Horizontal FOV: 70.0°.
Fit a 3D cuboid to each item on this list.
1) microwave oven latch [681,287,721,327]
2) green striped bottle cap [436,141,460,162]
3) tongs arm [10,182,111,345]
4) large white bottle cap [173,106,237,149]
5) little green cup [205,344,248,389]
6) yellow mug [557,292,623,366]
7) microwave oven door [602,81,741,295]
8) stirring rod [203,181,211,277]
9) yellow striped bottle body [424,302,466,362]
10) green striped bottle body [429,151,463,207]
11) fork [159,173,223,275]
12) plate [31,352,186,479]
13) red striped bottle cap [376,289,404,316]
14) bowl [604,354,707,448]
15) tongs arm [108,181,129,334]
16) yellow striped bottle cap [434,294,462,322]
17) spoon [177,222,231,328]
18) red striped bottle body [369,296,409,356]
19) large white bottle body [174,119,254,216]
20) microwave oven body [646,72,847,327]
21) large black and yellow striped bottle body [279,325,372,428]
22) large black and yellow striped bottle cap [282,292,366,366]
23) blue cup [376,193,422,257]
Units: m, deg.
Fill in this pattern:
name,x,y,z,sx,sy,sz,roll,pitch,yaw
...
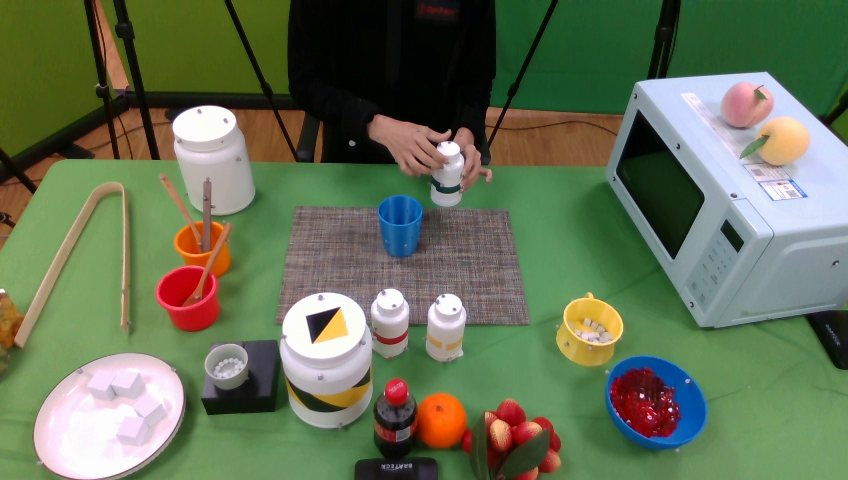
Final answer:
name,x,y,z,sx,sy,sz,roll,pitch,yaw
microwave oven latch,0.494,0.119,1.087,0.030,0.029,0.078,-6,46,-9
green striped bottle cap,0.045,-0.163,1.117,0.044,0.020,0.044,0,44,1
tongs arm,-0.658,0.027,1.109,0.028,0.028,0.385,-2,45,2
large white bottle cap,-0.411,-0.212,1.138,0.115,0.018,0.114,3,47,-2
little green cup,-0.294,0.191,0.909,0.061,0.039,0.061,1,47,-1
yellow mug,0.285,0.145,1.051,0.100,0.064,0.130,7,45,4
microwave oven door,0.456,-0.107,1.162,0.039,0.245,0.353,-7,47,-11
stirring rod,-0.396,-0.021,1.108,0.014,0.006,0.176,-1,89,-2
yellow striped bottle body,0.035,0.143,0.995,0.063,0.121,0.062,3,46,-2
green striped bottle body,0.042,-0.127,1.157,0.063,0.120,0.063,1,47,-1
fork,-0.427,-0.029,1.103,0.028,0.018,0.207,-31,99,-31
plate,-0.459,0.262,0.898,0.209,0.038,0.208,2,46,-2
red striped bottle cap,-0.055,0.098,0.958,0.044,0.018,0.044,0,47,0
bowl,0.346,0.261,0.937,0.151,0.077,0.150,2,46,-2
tongs arm,-0.571,0.019,1.123,0.051,0.026,0.382,-10,47,-12
yellow striped bottle cap,0.038,0.107,0.958,0.044,0.019,0.044,2,45,-2
spoon,-0.369,0.059,1.027,0.041,0.022,0.193,25,94,19
red striped bottle body,-0.059,0.134,0.997,0.063,0.120,0.062,5,48,-5
large white bottle body,-0.415,-0.154,1.199,0.131,0.185,0.130,2,46,-2
microwave oven body,0.607,-0.089,1.164,0.326,0.261,0.438,-7,46,-10
large black and yellow striped bottle body,-0.143,0.181,0.900,0.131,0.185,0.130,2,46,-2
large black and yellow striped bottle cap,-0.138,0.121,0.841,0.115,0.019,0.114,3,47,-3
blue cup,-0.047,-0.022,1.155,0.093,0.101,0.092,1,47,-1
